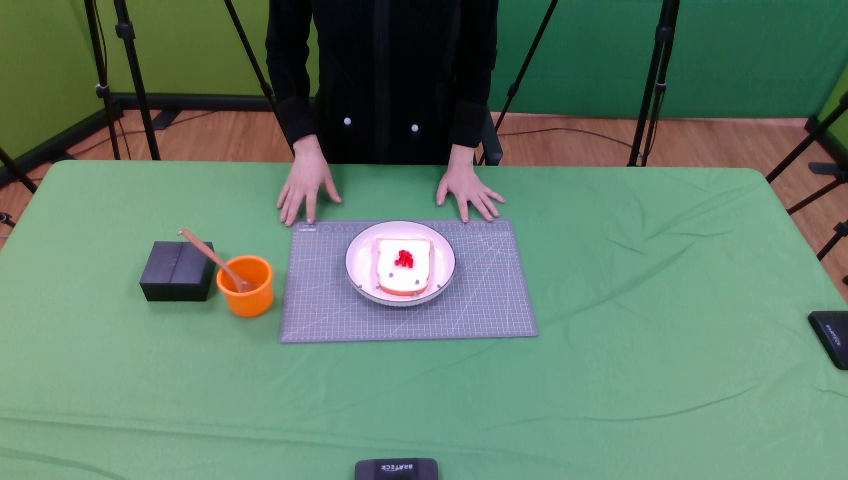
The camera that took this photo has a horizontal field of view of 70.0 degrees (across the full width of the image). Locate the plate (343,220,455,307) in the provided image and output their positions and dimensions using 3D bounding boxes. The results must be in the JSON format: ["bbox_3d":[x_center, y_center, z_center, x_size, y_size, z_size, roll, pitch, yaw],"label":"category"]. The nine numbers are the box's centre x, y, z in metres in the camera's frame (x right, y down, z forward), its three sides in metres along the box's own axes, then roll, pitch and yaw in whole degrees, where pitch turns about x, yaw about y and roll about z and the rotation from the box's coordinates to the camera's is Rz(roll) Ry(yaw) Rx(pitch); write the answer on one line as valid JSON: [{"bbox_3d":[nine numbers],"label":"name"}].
[{"bbox_3d":[-0.047,0.046,1.135,0.209,0.038,0.208,2,46,-2],"label":"plate"}]

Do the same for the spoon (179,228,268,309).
[{"bbox_3d":[-0.342,0.048,1.037,0.021,0.194,0.041,-19,28,44],"label":"spoon"}]

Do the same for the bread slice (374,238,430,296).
[{"bbox_3d":[-0.039,0.048,1.135,0.107,0.018,0.133,-1,47,-4],"label":"bread slice"}]
